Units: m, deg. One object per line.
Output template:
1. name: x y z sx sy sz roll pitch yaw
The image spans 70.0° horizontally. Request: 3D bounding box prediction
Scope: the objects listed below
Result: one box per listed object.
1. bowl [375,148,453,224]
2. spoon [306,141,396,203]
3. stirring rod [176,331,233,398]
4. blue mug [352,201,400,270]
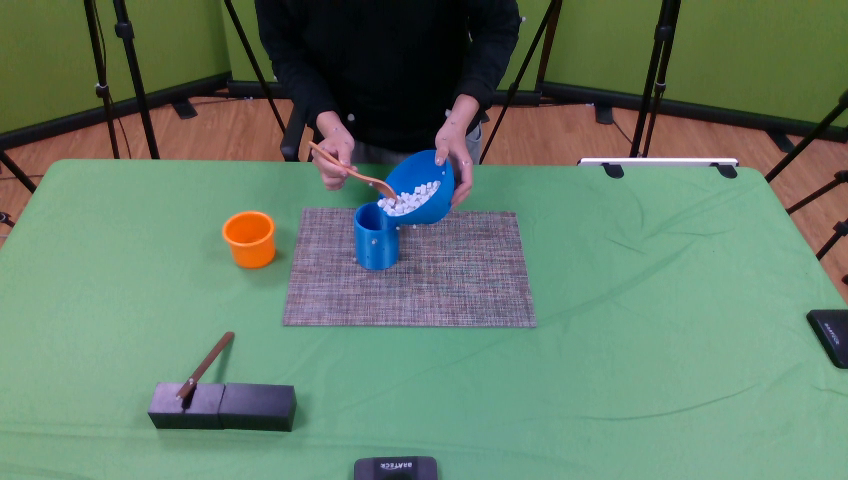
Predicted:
1. bowl: -0.003 -0.081 1.074 0.151 0.077 0.150 -23 44 25
2. spoon: -0.129 -0.122 1.072 0.193 0.042 0.021 30 74 2
3. stirring rod: -0.342 0.192 0.955 0.014 0.006 0.175 3 24 7
4. blue mug: -0.082 -0.017 1.144 0.082 0.106 0.116 30 51 22
